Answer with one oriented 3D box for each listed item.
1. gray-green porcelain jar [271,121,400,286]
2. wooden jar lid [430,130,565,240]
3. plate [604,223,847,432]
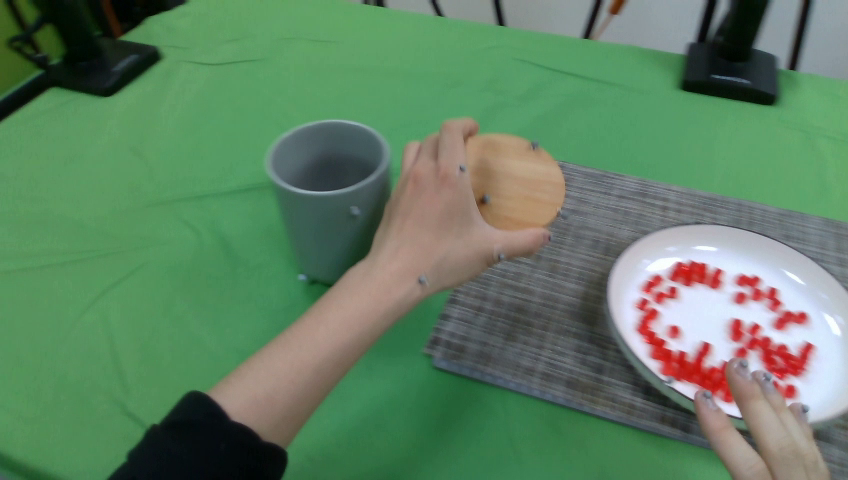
[{"bbox_3d":[-0.076,-0.029,0.561,0.106,0.127,0.105,0,46,1],"label":"gray-green porcelain jar"},{"bbox_3d":[0.059,-0.043,0.491,0.108,0.021,0.107,1,57,-1],"label":"wooden jar lid"},{"bbox_3d":[0.256,0.070,0.512,0.208,0.039,0.205,-1,46,1],"label":"plate"}]
